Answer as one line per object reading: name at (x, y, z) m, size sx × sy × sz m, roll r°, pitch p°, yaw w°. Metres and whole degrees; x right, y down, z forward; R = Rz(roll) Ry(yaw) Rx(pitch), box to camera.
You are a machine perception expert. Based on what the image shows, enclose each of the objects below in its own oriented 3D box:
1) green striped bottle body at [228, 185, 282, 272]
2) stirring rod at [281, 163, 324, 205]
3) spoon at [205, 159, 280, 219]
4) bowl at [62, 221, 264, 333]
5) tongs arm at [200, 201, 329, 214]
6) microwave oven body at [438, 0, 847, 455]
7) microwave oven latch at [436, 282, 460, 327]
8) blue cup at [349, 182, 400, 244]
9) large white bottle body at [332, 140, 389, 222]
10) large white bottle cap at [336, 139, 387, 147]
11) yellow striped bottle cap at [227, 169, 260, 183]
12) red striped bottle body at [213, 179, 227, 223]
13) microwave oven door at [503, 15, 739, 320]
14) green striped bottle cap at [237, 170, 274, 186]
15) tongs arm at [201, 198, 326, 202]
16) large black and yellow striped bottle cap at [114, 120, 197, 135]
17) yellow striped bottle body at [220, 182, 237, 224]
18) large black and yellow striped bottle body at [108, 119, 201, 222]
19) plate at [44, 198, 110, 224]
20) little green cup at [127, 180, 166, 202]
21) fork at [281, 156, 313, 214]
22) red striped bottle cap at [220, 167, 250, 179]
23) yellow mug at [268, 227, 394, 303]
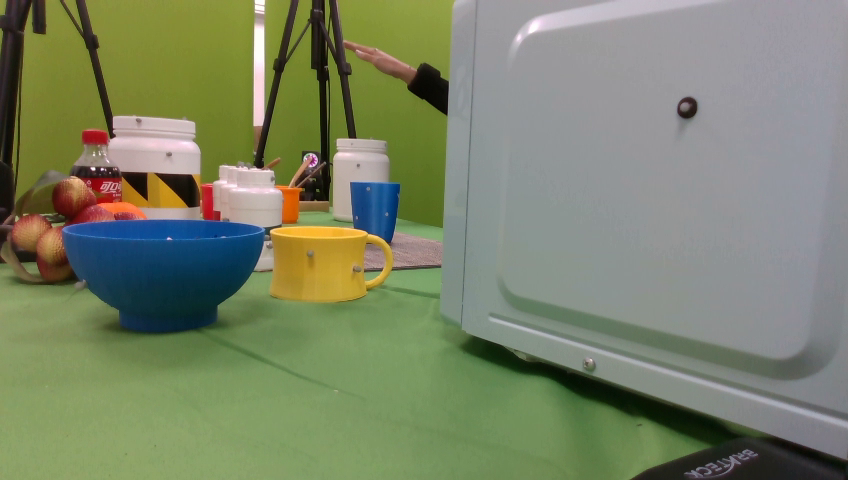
green striped bottle body at (-0.208, -0.023, 0.745) m, size 0.063 × 0.119 × 0.063 m, roll 2°, pitch 7°, yaw 0°
stirring rod at (-0.278, -0.105, 1.293) m, size 0.176 × 0.006 × 0.014 m, roll -47°, pitch 25°, yaw -18°
spoon at (-0.364, -0.103, 1.214) m, size 0.193 × 0.021 × 0.041 m, roll -42°, pitch 4°, yaw 6°
bowl at (-0.209, 0.029, 0.496) m, size 0.151 × 0.077 × 0.151 m, roll 2°, pitch 6°, yaw 0°
tongs arm at (-0.378, -0.079, 1.440) m, size 0.387 × 0.026 × 0.050 m, roll -4°, pitch 8°, yaw -44°
microwave oven body at (0.280, -0.039, 0.464) m, size 0.444 × 0.260 × 0.324 m, roll -3°, pitch 8°, yaw -41°
microwave oven latch at (0.044, 0.046, 0.470) m, size 0.079 × 0.029 × 0.030 m, roll -3°, pitch 8°, yaw -41°
blue cup at (-0.083, -0.046, 1.009) m, size 0.093 × 0.100 × 0.092 m, roll 1°, pitch 6°, yaw 0°
large white bottle body at (-0.145, -0.136, 1.387) m, size 0.131 × 0.184 × 0.130 m, roll 2°, pitch 7°, yaw 0°
large white bottle cap at (-0.142, -0.219, 1.375) m, size 0.115 × 0.018 × 0.115 m, roll 2°, pitch 8°, yaw 0°
yellow striped bottle cap at (-0.243, -0.087, 0.818) m, size 0.044 × 0.018 × 0.044 m, roll 3°, pitch 6°, yaw 0°
red striped bottle body at (-0.284, -0.048, 0.909) m, size 0.063 × 0.119 × 0.063 m, roll 3°, pitch 11°, yaw 0°
microwave oven door at (0.218, -0.065, 0.600) m, size 0.358 × 0.243 × 0.039 m, roll -4°, pitch 10°, yaw -41°
green striped bottle cap at (-0.205, -0.075, 0.737) m, size 0.044 × 0.020 × 0.044 m, roll 1°, pitch 6°, yaw 0°
tongs arm at (-0.433, -0.090, 1.507) m, size 0.390 × 0.028 × 0.028 m, roll -1°, pitch 2°, yaw -29°
large black and yellow striped bottle cap at (-0.407, -0.171, 0.920) m, size 0.115 × 0.019 × 0.115 m, roll 2°, pitch 9°, yaw 0°
yellow striped bottle body at (-0.246, -0.036, 0.825) m, size 0.063 × 0.120 × 0.063 m, roll 3°, pitch 8°, yaw 0°
large black and yellow striped bottle body at (-0.412, -0.088, 0.930) m, size 0.131 × 0.184 × 0.130 m, roll 3°, pitch 7°, yaw 0°
plate at (-0.617, -0.056, 1.179) m, size 0.209 × 0.038 × 0.209 m, roll 3°, pitch 7°, yaw 0°
little green cup at (-0.485, -0.086, 1.061) m, size 0.061 × 0.038 × 0.061 m, roll 1°, pitch 7°, yaw 0°
fork at (-0.288, -0.116, 1.320) m, size 0.028 × 0.019 × 0.207 m, roll -2°, pitch 48°, yaw 27°
red striped bottle cap at (-0.281, -0.100, 0.901) m, size 0.044 × 0.017 × 0.044 m, roll -1°, pitch 5°, yaw 0°
yellow mug at (-0.094, 0.023, 0.629) m, size 0.131 × 0.064 × 0.099 m, roll 0°, pitch 7°, yaw -22°
